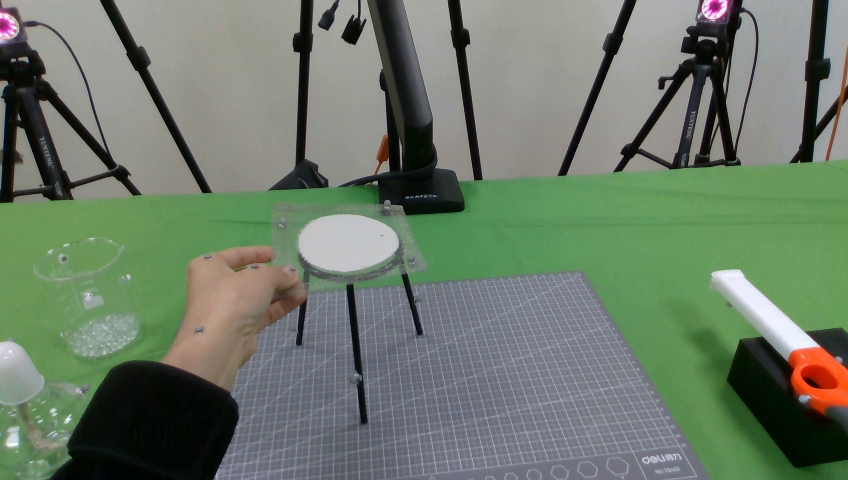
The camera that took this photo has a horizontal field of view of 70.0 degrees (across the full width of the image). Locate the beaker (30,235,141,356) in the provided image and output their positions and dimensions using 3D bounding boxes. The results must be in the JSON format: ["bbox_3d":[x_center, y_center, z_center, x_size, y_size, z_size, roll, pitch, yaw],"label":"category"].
[{"bbox_3d":[-0.323,0.055,0.594,0.073,0.101,0.084,26,40,35],"label":"beaker"}]

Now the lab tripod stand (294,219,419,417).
[{"bbox_3d":[-0.062,0.061,0.545,0.148,0.132,0.147,1,33,0],"label":"lab tripod stand"}]

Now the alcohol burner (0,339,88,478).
[{"bbox_3d":[-0.307,0.125,0.467,0.078,0.120,0.077,1,30,0],"label":"alcohol burner"}]

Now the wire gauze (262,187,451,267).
[{"bbox_3d":[-0.058,-0.012,0.502,0.125,0.011,0.120,-10,31,-32],"label":"wire gauze"}]

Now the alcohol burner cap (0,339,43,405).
[{"bbox_3d":[-0.308,0.095,0.448,0.034,0.048,0.033,1,36,0],"label":"alcohol burner cap"}]

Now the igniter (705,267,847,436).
[{"bbox_3d":[0.314,0.100,0.495,0.057,0.025,0.274,-5,29,-5],"label":"igniter"}]
